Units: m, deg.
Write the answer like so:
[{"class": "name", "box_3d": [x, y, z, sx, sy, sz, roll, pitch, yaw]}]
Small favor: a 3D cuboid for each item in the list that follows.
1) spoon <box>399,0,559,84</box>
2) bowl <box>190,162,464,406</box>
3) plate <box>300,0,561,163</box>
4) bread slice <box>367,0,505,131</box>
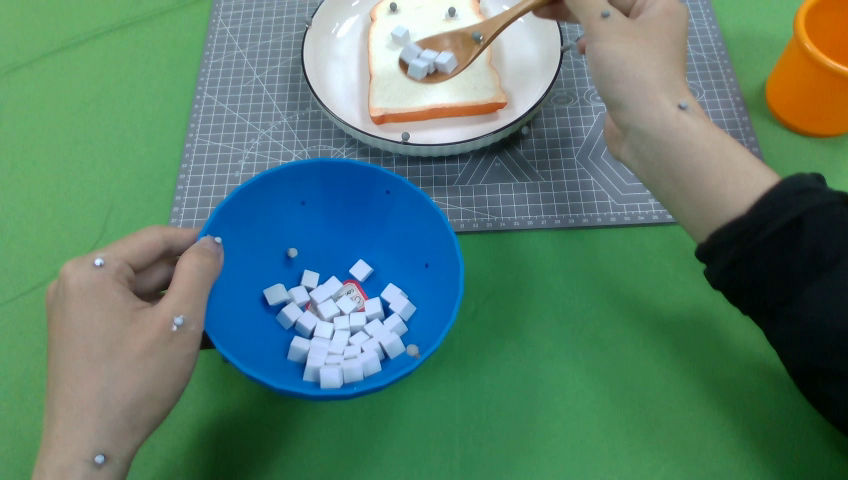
[{"class": "spoon", "box_3d": [0.072, -0.153, 0.403, 0.193, 0.022, 0.041, -23, 59, 17]}, {"class": "bowl", "box_3d": [-0.056, 0.035, 0.369, 0.152, 0.077, 0.150, 5, 59, -7]}, {"class": "plate", "box_3d": [0.005, -0.145, 0.499, 0.209, 0.038, 0.207, -1, 62, 3]}, {"class": "bread slice", "box_3d": [0.002, -0.149, 0.504, 0.107, 0.018, 0.133, -9, 64, -1]}]
